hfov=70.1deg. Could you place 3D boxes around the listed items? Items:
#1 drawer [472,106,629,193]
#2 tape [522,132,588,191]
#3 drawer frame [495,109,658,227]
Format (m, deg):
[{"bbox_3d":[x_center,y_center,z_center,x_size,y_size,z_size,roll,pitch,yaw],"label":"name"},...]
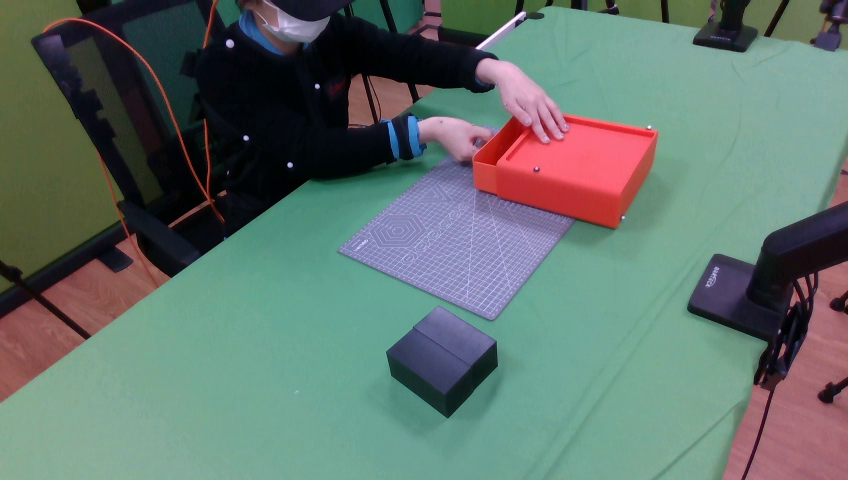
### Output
[{"bbox_3d":[0.221,-0.143,1.053,0.210,0.073,0.195,19,46,27],"label":"drawer"},{"bbox_3d":[0.227,-0.138,1.056,0.117,0.053,0.116,-4,40,4],"label":"tape"},{"bbox_3d":[0.260,-0.130,1.031,0.212,0.083,0.202,18,46,26],"label":"drawer frame"}]
